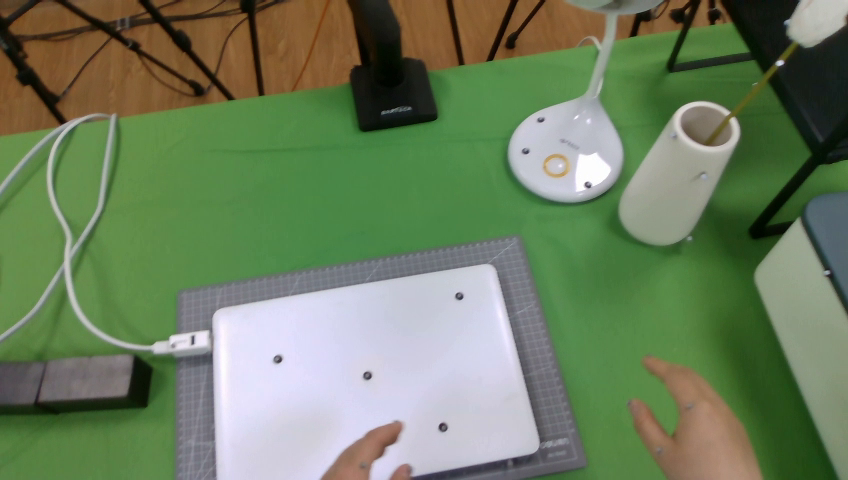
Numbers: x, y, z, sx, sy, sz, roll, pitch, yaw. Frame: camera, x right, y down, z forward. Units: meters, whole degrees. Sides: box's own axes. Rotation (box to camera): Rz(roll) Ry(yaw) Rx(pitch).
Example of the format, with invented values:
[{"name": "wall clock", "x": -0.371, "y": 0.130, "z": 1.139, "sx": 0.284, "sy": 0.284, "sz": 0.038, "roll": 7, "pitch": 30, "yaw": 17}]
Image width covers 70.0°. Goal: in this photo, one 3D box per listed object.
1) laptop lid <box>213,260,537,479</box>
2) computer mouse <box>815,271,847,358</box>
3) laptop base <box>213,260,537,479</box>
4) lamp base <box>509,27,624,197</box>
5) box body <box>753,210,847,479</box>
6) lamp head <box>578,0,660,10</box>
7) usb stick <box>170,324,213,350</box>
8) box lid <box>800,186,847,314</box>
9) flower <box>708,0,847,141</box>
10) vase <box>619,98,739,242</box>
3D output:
[{"name": "laptop lid", "x": -0.066, "y": 0.153, "z": 0.701, "sx": 0.357, "sy": 0.013, "sz": 0.239, "roll": -8, "pitch": 65, "yaw": -3}, {"name": "computer mouse", "x": 0.512, "y": 0.087, "z": 0.723, "sx": 0.062, "sy": 0.041, "sz": 0.116, "roll": 22, "pitch": 58, "yaw": 16}, {"name": "laptop base", "x": -0.066, "y": 0.156, "z": 0.712, "sx": 0.355, "sy": 0.023, "sz": 0.233, "roll": -9, "pitch": 66, "yaw": -4}, {"name": "lamp base", "x": 0.203, "y": -0.175, "z": 0.791, "sx": 0.160, "sy": 0.181, "sz": 0.178, "roll": 21, "pitch": 62, "yaw": 12}, {"name": "box body", "x": 0.548, "y": 0.129, "z": 0.636, "sx": 0.254, "sy": 0.161, "sz": 0.360, "roll": -8, "pitch": 62, "yaw": -3}, {"name": "lamp head", "x": 0.166, "y": -0.270, "z": 0.503, "sx": 0.112, "sy": 0.113, "sz": 0.122, "roll": 18, "pitch": 82, "yaw": 10}, {"name": "usb stick", "x": -0.268, "y": 0.116, "z": 0.722, "sx": 0.059, "sy": 0.027, "sz": 0.021, "roll": -5, "pitch": 61, "yaw": -8}, {"name": "box lid", "x": 0.546, "y": 0.092, "z": 0.571, "sx": 0.263, "sy": 0.015, "sz": 0.368, "roll": -7, "pitch": 62, "yaw": -4}, {"name": "flower", "x": 0.319, "y": -0.121, "z": 0.657, "sx": 0.038, "sy": 0.364, "sz": 0.043, "roll": 6, "pitch": 52, "yaw": -14}, {"name": "vase", "x": 0.301, "y": -0.080, "z": 0.728, "sx": 0.098, "sy": 0.201, "sz": 0.097, "roll": -1, "pitch": 61, "yaw": 2}]
